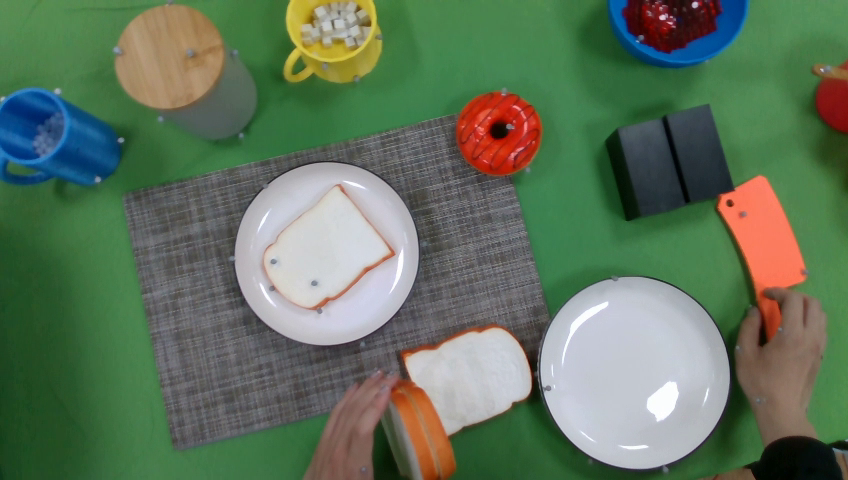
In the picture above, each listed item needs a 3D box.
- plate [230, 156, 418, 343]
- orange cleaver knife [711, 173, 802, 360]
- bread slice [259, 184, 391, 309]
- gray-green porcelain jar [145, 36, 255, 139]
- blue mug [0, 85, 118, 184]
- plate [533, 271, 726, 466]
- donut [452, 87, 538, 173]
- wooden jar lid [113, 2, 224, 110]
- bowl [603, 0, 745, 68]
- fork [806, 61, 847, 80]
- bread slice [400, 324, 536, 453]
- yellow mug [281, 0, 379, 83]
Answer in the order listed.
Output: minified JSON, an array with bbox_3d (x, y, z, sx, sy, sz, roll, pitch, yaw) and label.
[{"bbox_3d":[-0.110,0.011,0.684,0.208,0.039,0.207,0,85,1],"label":"plate"},{"bbox_3d":[0.389,0.028,0.688,0.077,0.012,0.210,-13,81,-3],"label":"orange cleaver knife"},{"bbox_3d":[-0.118,0.015,0.686,0.131,0.019,0.104,-40,85,-4],"label":"bread slice"},{"bbox_3d":[-0.250,-0.173,0.663,0.106,0.127,0.105,0,84,1],"label":"gray-green porcelain jar"},{"bbox_3d":[-0.417,-0.102,0.668,0.116,0.106,0.082,-39,85,-2],"label":"blue mug"},{"bbox_3d":[0.223,0.140,0.671,0.209,0.038,0.208,0,85,1],"label":"plate"},{"bbox_3d":[0.080,-0.125,0.691,0.099,0.048,0.099,0,85,0],"label":"donut"},{"bbox_3d":[-0.251,-0.180,0.601,0.108,0.021,0.108,0,83,2],"label":"wooden jar lid"},{"bbox_3d":[0.271,-0.258,0.687,0.151,0.077,0.151,0,85,1],"label":"bowl"},{"bbox_3d":[0.450,-0.169,0.642,0.208,0.018,0.028,-2,83,-41],"label":"fork"},{"bbox_3d":[0.055,0.151,0.647,0.134,0.018,0.106,-20,81,-21],"label":"bread slice"},{"bbox_3d":[-0.115,-0.230,0.696,0.100,0.064,0.131,44,88,4],"label":"yellow mug"}]
